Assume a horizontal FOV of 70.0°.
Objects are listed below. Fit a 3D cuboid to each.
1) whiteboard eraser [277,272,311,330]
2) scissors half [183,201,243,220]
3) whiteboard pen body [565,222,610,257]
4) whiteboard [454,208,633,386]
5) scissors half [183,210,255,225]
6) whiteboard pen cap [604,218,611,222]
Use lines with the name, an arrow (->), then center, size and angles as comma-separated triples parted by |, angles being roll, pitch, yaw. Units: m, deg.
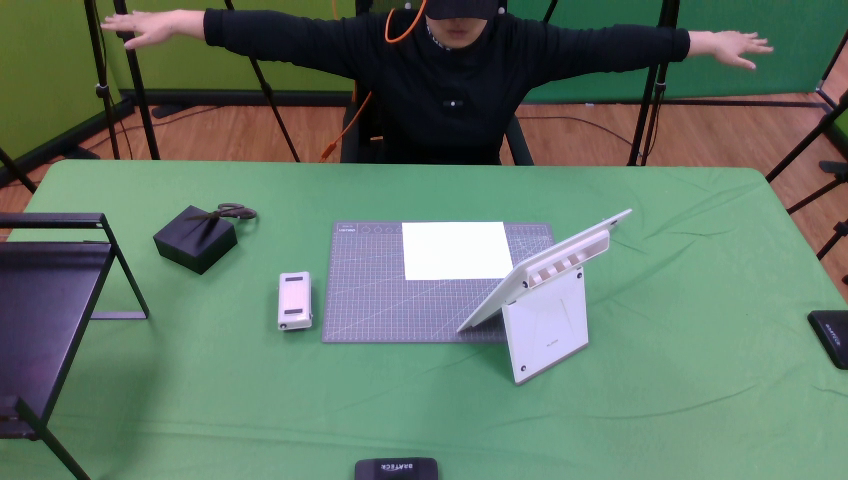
whiteboard eraser -> -0.228, 0.108, 1.062 | 0.056, 0.042, 0.112 | -3, 46, -9
scissors half -> -0.405, -0.054, 1.163 | 0.040, 0.013, 0.175 | 29, 18, 7
whiteboard pen body -> 0.334, -0.004, 1.228 | 0.141, 0.017, 0.017 | -32, 56, -29
whiteboard -> 0.211, 0.111, 0.954 | 0.217, 0.306, 0.143 | -22, 72, -24
scissors half -> -0.389, -0.042, 1.158 | 0.040, 0.013, 0.175 | 41, 21, 22
whiteboard pen cap -> 0.378, -0.031, 1.255 | 0.033, 0.018, 0.018 | -33, 57, -29
